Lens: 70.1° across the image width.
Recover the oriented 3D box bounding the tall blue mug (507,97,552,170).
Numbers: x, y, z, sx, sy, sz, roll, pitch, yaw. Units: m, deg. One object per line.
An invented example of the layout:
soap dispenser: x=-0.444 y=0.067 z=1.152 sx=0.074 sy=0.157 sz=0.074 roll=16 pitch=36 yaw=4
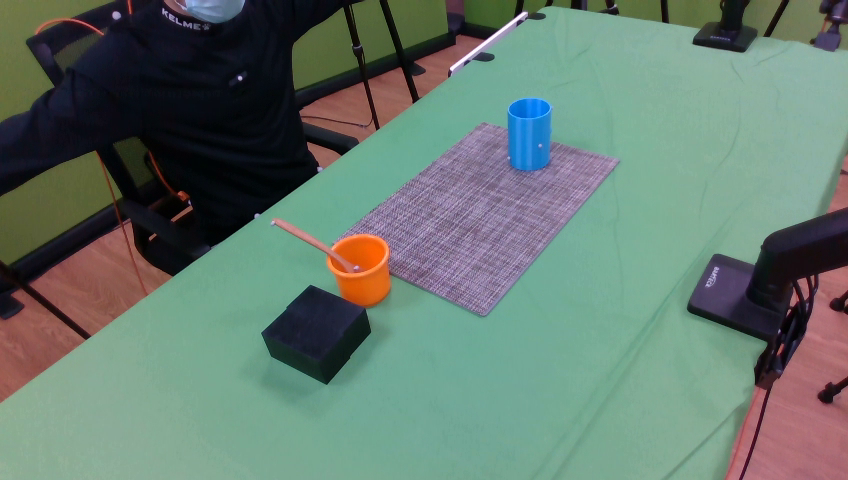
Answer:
tall blue mug: x=0.179 y=-0.198 z=1.101 sx=0.078 sy=0.108 sz=0.106 roll=-36 pitch=49 yaw=-28

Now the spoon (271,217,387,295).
spoon: x=-0.134 y=0.022 z=0.865 sx=0.021 sy=0.195 sz=0.041 roll=-36 pitch=25 yaw=39
